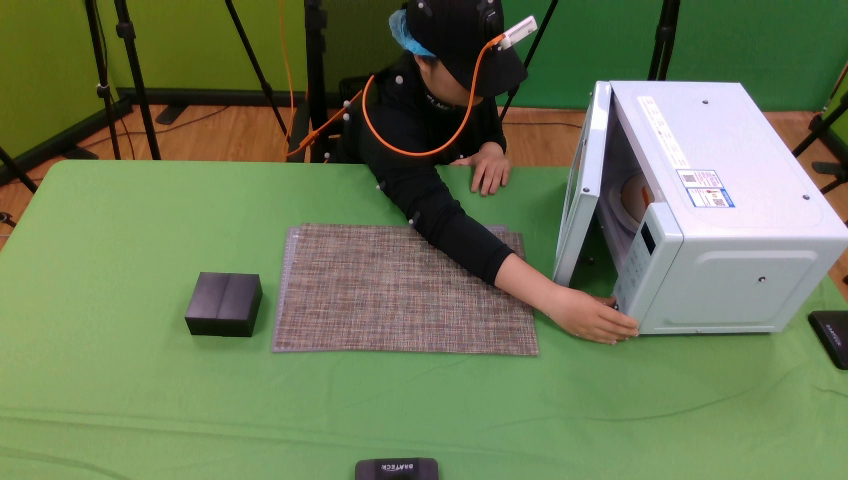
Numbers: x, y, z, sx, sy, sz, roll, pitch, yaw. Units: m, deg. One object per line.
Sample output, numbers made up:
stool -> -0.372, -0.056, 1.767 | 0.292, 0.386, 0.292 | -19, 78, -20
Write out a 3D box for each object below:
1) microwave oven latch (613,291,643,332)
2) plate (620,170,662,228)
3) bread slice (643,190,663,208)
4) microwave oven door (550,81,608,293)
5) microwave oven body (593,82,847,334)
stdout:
microwave oven latch -> 0.358, 0.125, 1.068 | 0.030, 0.029, 0.078 | 1, 45, -2
plate -> 0.489, -0.059, 1.194 | 0.209, 0.038, 0.208 | 3, 46, -3
bread slice -> 0.493, -0.055, 1.197 | 0.105, 0.019, 0.131 | 5, 40, 4
microwave oven door -> 0.300, -0.109, 1.149 | 0.039, 0.245, 0.354 | 13, 47, 8
microwave oven body -> 0.501, -0.069, 1.132 | 0.326, 0.261, 0.438 | -1, 45, -3
